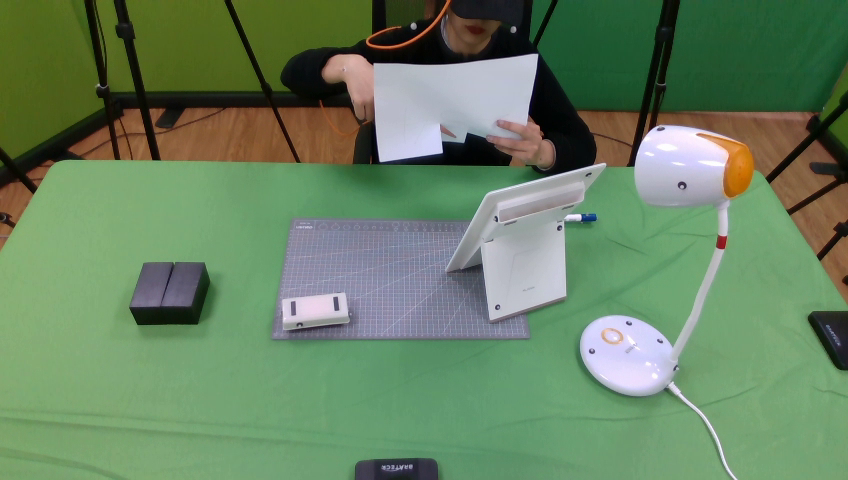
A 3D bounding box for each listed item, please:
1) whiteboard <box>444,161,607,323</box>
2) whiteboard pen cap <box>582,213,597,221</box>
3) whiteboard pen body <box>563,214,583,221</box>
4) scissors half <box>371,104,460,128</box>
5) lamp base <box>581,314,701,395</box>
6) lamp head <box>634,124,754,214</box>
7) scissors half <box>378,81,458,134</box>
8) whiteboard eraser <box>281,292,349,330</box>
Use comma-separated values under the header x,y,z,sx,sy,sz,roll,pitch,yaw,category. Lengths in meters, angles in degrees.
x,y,z,sx,sy,sz,roll,pitch,yaw,category
0.186,0.025,1.029,0.217,0.306,0.143,-14,68,-18,whiteboard
0.342,-0.048,1.260,0.033,0.018,0.018,-3,46,-3,whiteboard pen cap
0.283,-0.047,1.257,0.141,0.017,0.017,-1,46,-2,whiteboard pen body
-0.016,-0.232,1.168,0.175,0.040,0.013,7,20,0,scissors half
0.361,0.144,0.973,0.178,0.181,0.160,34,53,23,lamp base
0.351,-0.089,0.775,0.112,0.113,0.122,-30,30,-28,lamp head
-0.008,-0.252,1.162,0.175,0.040,0.012,33,13,-7,scissors half
-0.189,0.124,1.045,0.113,0.042,0.055,-6,46,-10,whiteboard eraser
